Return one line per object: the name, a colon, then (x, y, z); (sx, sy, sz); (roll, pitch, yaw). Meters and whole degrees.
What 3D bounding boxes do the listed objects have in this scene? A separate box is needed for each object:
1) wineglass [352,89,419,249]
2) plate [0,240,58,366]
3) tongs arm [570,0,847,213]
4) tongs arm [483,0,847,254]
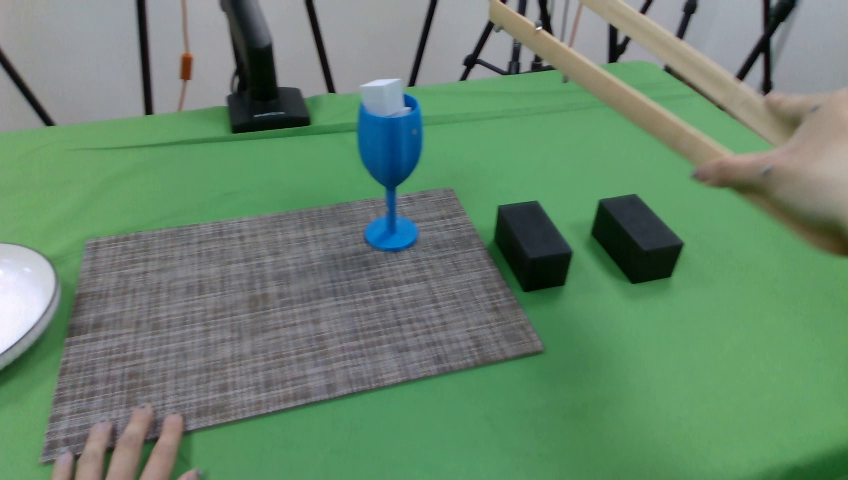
wineglass: (-0.042, -0.076, 0.680); (0.074, 0.174, 0.073); (1, 39, -1)
plate: (-0.465, 0.077, 0.583); (0.209, 0.038, 0.207); (1, 39, -1)
tongs arm: (0.234, -0.134, 0.522); (0.028, 0.028, 0.383); (-12, 48, -23)
tongs arm: (0.179, -0.115, 0.498); (0.051, 0.027, 0.380); (-20, 51, -25)
